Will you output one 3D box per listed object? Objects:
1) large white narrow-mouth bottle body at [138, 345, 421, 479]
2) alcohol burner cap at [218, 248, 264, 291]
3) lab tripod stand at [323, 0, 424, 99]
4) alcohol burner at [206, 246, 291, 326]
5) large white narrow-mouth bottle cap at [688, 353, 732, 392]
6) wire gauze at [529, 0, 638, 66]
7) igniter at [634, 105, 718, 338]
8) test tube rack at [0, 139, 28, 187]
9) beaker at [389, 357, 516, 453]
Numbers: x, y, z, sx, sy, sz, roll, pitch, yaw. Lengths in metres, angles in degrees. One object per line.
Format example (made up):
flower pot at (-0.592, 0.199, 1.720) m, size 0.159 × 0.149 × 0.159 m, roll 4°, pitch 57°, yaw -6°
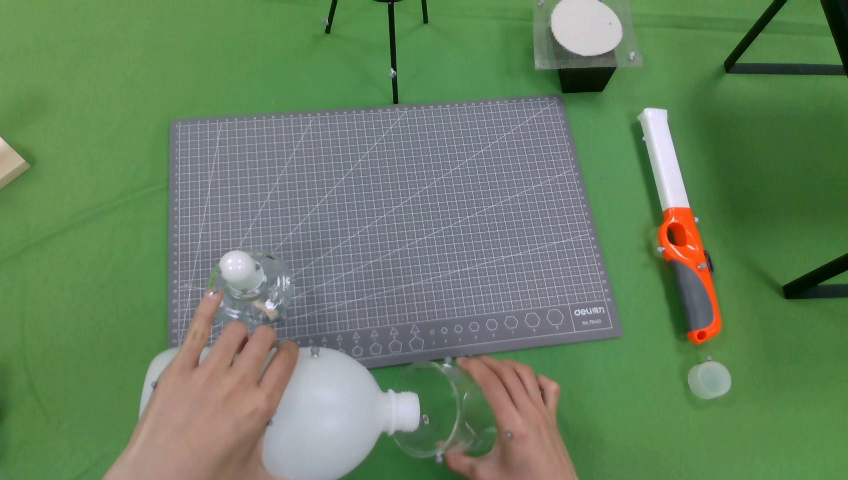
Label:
large white narrow-mouth bottle body at (-0.100, 0.128, 0.453) m, size 0.195 × 0.102 × 0.101 m, roll 2°, pitch 68°, yaw -13°
alcohol burner cap at (-0.159, 0.024, 0.520) m, size 0.034 × 0.048 × 0.033 m, roll 1°, pitch 74°, yaw -2°
lab tripod stand at (-0.046, -0.254, 0.670) m, size 0.148 × 0.132 × 0.147 m, roll 3°, pitch 69°, yaw -6°
alcohol burner at (-0.162, 0.036, 0.554) m, size 0.078 × 0.120 × 0.077 m, roll 3°, pitch 67°, yaw -6°
large white narrow-mouth bottle cap at (0.289, 0.134, 0.613) m, size 0.038 × 0.024 × 0.037 m, roll 2°, pitch 68°, yaw -4°
wire gauze at (0.182, -0.253, 0.706) m, size 0.121 × 0.011 × 0.124 m, roll 2°, pitch 68°, yaw -5°
igniter at (0.277, -0.027, 0.670) m, size 0.057 × 0.025 × 0.274 m, roll 1°, pitch 69°, yaw -16°
test tube rack at (-0.515, -0.032, 0.564) m, size 0.066 × 0.085 × 0.242 m, roll 40°, pitch 70°, yaw 10°
beaker at (0.026, 0.142, 0.523) m, size 0.083 × 0.101 × 0.073 m, roll -16°, pitch 68°, yaw 36°
